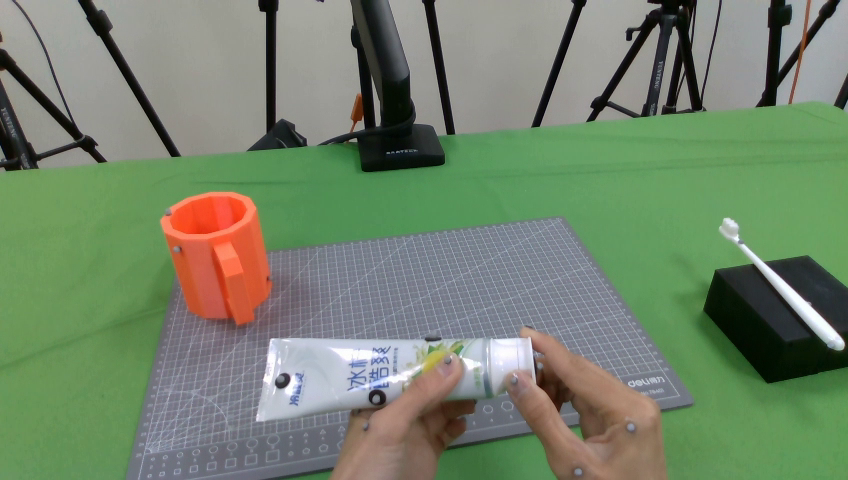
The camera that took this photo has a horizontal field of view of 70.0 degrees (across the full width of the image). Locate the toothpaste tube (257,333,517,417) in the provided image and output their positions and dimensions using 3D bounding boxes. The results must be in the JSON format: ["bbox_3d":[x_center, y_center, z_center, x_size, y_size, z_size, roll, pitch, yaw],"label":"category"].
[{"bbox_3d":[-0.019,0.076,0.368,0.165,0.035,0.054,-5,52,6],"label":"toothpaste tube"}]

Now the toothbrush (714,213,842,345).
[{"bbox_3d":[0.316,0.028,0.550,0.014,0.017,0.180,-2,35,-8],"label":"toothbrush"}]

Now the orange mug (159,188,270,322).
[{"bbox_3d":[-0.196,0.018,0.587,0.083,0.101,0.125,-19,35,-23],"label":"orange mug"}]

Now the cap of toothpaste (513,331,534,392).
[{"bbox_3d":[0.059,0.071,0.357,0.011,0.038,0.037,-5,35,6],"label":"cap of toothpaste"}]
